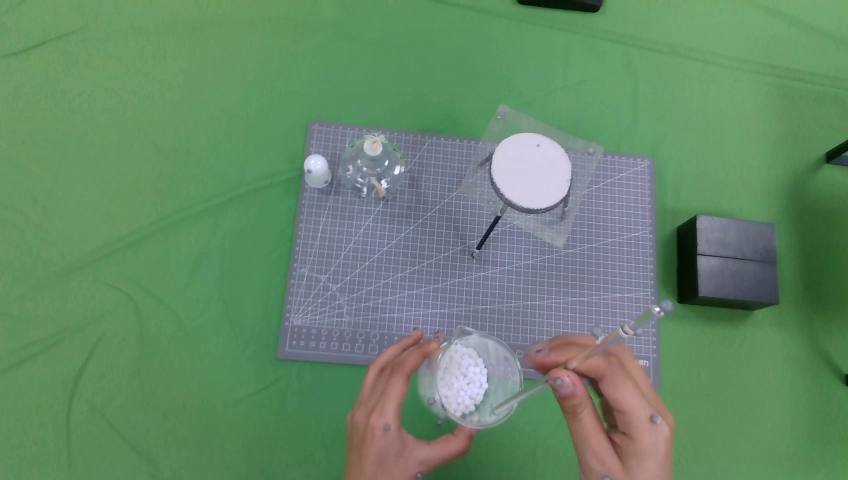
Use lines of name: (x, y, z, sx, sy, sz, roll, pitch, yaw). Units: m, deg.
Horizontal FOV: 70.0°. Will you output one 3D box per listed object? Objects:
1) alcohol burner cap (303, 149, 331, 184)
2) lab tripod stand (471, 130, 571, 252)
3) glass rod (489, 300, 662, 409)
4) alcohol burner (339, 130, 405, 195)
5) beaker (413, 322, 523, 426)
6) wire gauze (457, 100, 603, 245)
alcohol burner cap: (-0.130, -0.091, 0.726, 0.034, 0.048, 0.033, 1, 74, -4)
lab tripod stand: (0.110, -0.058, 0.696, 0.148, 0.132, 0.147, 2, 73, -6)
glass rod: (0.082, 0.077, 0.371, 0.008, 0.200, 0.008, 9, 59, -15)
alcohol burner: (-0.059, -0.096, 0.698, 0.078, 0.119, 0.077, 2, 74, -7)
beaker: (0.031, 0.116, 0.526, 0.074, 0.100, 0.083, -16, 80, -15)
wire gauze: (0.112, -0.075, 0.631, 0.125, 0.011, 0.121, 27, 74, 1)
